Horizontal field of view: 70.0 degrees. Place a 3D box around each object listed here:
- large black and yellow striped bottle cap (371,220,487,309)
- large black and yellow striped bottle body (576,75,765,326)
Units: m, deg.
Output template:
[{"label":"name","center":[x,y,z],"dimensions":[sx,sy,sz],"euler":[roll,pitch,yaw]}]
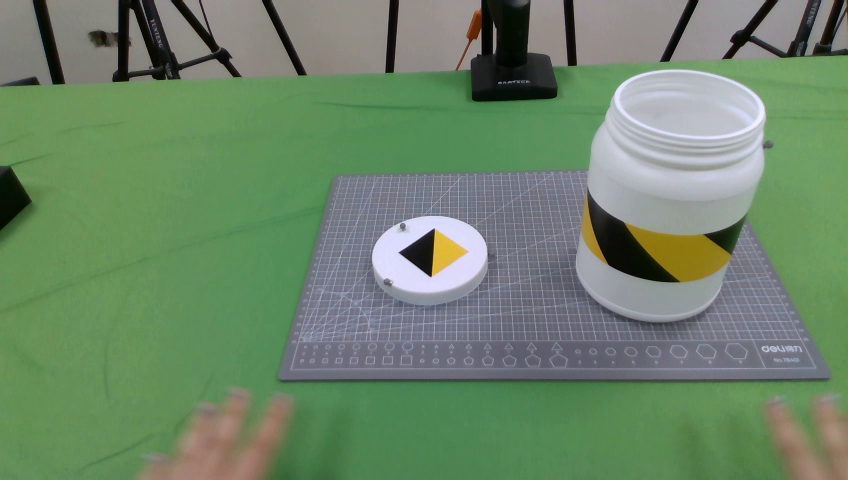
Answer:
[{"label":"large black and yellow striped bottle cap","center":[0.005,0.021,0.600],"dimensions":[0.115,0.019,0.114],"euler":[-1,41,1]},{"label":"large black and yellow striped bottle body","center":[0.203,-0.032,0.515],"dimensions":[0.131,0.186,0.129],"euler":[-3,41,3]}]
